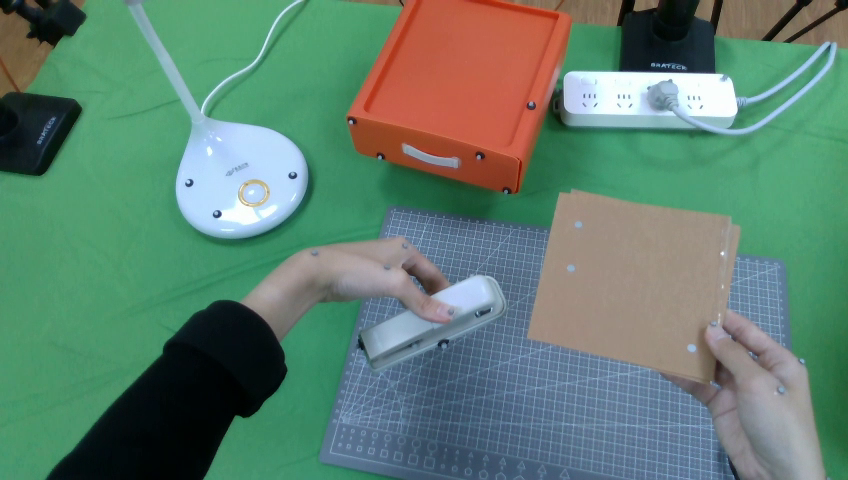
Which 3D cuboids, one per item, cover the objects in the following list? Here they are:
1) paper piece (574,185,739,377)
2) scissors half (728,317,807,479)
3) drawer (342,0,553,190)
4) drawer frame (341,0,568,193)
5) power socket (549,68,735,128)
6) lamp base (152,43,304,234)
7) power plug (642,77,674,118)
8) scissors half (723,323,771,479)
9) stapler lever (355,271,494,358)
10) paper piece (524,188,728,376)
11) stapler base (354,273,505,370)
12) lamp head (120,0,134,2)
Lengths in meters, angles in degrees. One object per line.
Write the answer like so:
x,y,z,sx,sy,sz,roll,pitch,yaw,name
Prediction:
0.168,0.026,0.479,0.135,0.004,0.135,16,66,19,paper piece
0.329,0.156,0.592,0.040,0.013,0.173,-6,61,-4,scissors half
0.039,-0.179,0.701,0.194,0.074,0.210,16,64,12,drawer
0.039,-0.183,0.706,0.201,0.083,0.212,16,65,12,drawer frame
0.274,-0.179,0.764,0.226,0.033,0.071,3,63,5,power socket
-0.241,-0.121,0.681,0.160,0.182,0.177,-42,64,-17,lamp base
0.280,-0.164,0.729,0.035,0.053,0.072,13,64,10,power plug
0.309,0.156,0.592,0.040,0.013,0.174,11,60,0,scissors half
0.000,0.059,0.486,0.118,0.040,0.026,-24,70,0,stapler lever
0.158,0.026,0.473,0.135,0.009,0.137,10,68,18,paper piece
0.004,0.065,0.510,0.130,0.024,0.041,-24,71,0,stapler base
-0.211,-0.246,0.417,0.123,0.112,0.112,47,69,-17,lamp head
